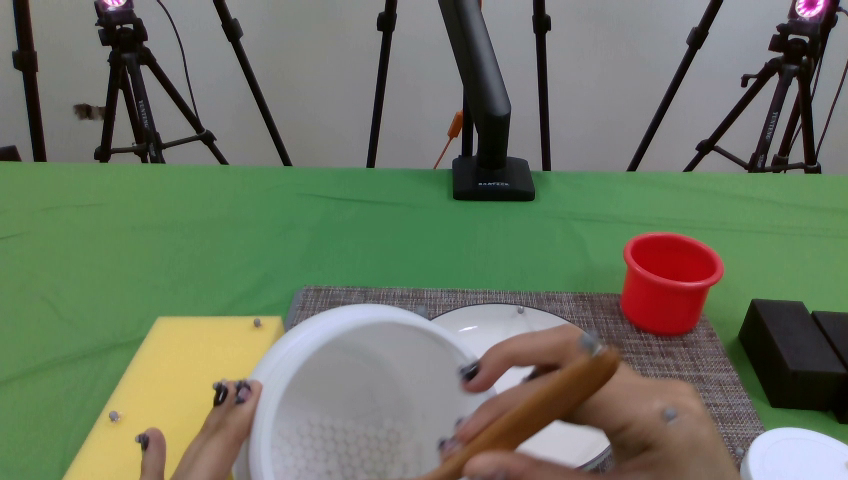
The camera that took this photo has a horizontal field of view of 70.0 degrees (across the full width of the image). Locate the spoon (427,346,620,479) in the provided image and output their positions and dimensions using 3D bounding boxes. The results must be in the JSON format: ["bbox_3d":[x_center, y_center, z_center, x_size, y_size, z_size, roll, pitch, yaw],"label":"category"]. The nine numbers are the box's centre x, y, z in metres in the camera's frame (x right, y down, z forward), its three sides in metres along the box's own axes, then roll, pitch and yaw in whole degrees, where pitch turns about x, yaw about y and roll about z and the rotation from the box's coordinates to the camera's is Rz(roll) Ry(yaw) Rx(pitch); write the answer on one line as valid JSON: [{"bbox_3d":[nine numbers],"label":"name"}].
[{"bbox_3d":[0.008,0.100,0.252,0.041,0.194,0.021,44,34,-2],"label":"spoon"}]

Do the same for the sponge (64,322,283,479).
[{"bbox_3d":[-0.194,0.156,0.500,0.118,0.061,0.205,-1,32,1],"label":"sponge"}]

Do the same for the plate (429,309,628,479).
[{"bbox_3d":[0.073,0.141,0.544,0.209,0.038,0.207,1,33,0],"label":"plate"}]

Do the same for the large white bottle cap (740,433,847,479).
[{"bbox_3d":[0.311,0.202,0.475,0.115,0.018,0.114,3,33,-1],"label":"large white bottle cap"}]

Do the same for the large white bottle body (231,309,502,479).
[{"bbox_3d":[-0.040,0.111,0.340,0.131,0.185,0.130,5,73,-16],"label":"large white bottle body"}]
